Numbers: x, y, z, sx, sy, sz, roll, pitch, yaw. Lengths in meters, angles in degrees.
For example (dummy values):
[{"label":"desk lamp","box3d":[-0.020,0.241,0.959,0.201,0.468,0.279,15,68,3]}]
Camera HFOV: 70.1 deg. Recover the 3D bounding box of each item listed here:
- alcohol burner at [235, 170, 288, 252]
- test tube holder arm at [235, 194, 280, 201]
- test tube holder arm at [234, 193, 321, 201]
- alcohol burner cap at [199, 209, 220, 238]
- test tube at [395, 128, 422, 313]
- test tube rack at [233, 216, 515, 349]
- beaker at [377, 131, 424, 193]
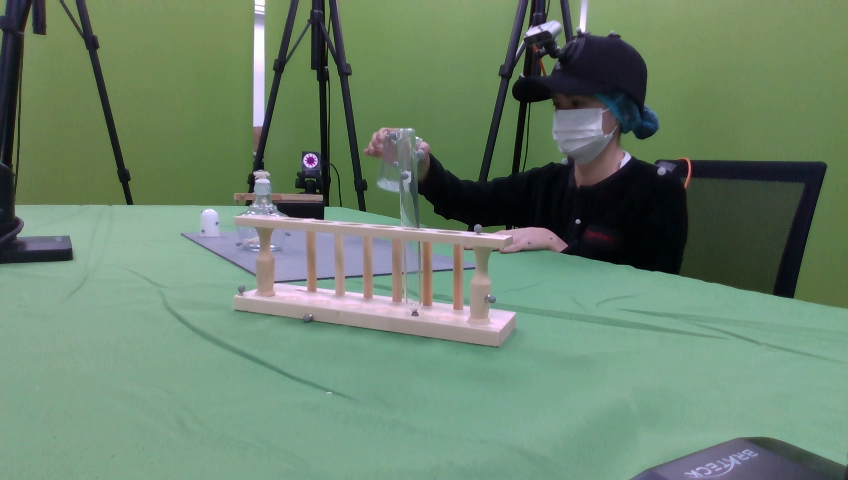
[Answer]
[{"label":"alcohol burner","box3d":[-0.236,-0.042,0.882,0.078,0.119,0.078,2,9,0]},{"label":"test tube holder arm","box3d":[-0.336,-0.086,1.221,0.088,0.015,0.010,-1,16,-29]},{"label":"test tube holder arm","box3d":[-0.299,-0.088,1.248,0.179,0.015,0.013,-1,16,-30]},{"label":"alcohol burner cap","box3d":[-0.356,-0.027,1.002,0.034,0.048,0.034,2,7,0]},{"label":"test tube","box3d":[-0.012,-0.015,0.491,0.017,0.150,0.017,-2,5,1]},{"label":"test tube rack","box3d":[-0.045,0.029,0.526,0.241,0.085,0.067,5,8,19]},{"label":"beaker","box3d":[-0.046,-0.140,1.094,0.074,0.100,0.084,14,17,14]}]
